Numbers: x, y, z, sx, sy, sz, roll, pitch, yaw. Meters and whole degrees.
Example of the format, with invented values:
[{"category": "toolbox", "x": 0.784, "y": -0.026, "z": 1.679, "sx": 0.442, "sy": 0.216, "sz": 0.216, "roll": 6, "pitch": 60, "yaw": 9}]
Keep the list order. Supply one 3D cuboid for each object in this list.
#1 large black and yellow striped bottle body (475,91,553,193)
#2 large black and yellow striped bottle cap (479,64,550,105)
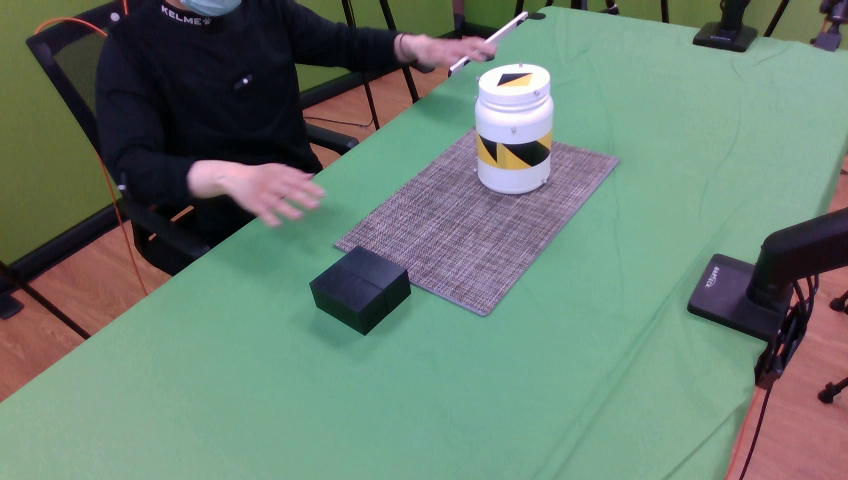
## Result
[{"category": "large black and yellow striped bottle body", "x": 0.153, "y": -0.187, "z": 1.034, "sx": 0.131, "sy": 0.185, "sz": 0.130, "roll": -4, "pitch": 41, "yaw": 4}, {"category": "large black and yellow striped bottle cap", "x": 0.146, "y": -0.253, "z": 0.978, "sx": 0.115, "sy": 0.019, "sz": 0.114, "roll": -5, "pitch": 40, "yaw": 5}]
